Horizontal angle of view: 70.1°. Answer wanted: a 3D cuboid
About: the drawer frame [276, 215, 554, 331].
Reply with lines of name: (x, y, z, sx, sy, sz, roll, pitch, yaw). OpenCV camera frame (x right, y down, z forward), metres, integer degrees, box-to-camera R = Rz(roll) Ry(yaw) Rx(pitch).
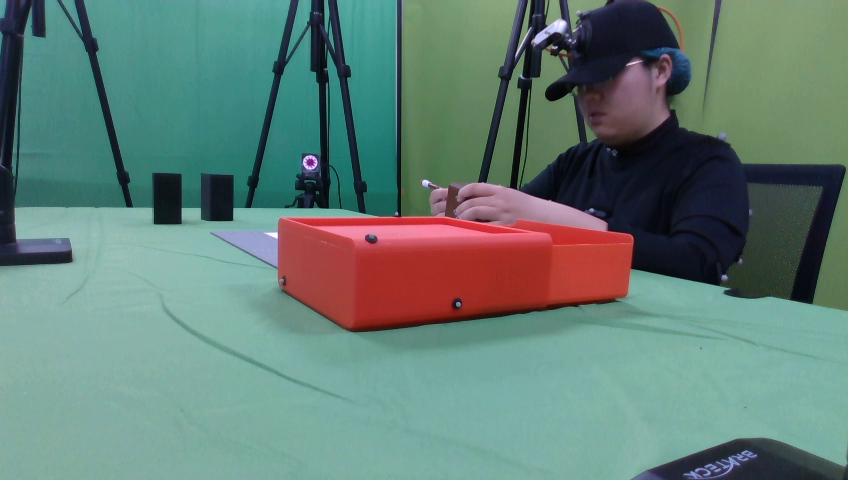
drawer frame: (-0.015, 0.022, 0.610, 0.215, 0.082, 0.200, -2, 9, -32)

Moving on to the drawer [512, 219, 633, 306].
drawer: (0.085, 0.021, 0.674, 0.213, 0.073, 0.193, -2, 9, -32)

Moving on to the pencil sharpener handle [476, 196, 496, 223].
pencil sharpener handle: (0.103, -0.032, 0.937, 0.036, 0.068, 0.030, -6, 19, -27)

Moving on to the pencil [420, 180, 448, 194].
pencil: (0.042, -0.082, 1.043, 0.012, 0.012, 0.193, -1, 16, -30)

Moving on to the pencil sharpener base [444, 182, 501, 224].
pencil sharpener base: (0.076, -0.034, 0.981, 0.061, 0.107, 0.076, 0, 16, -29)
